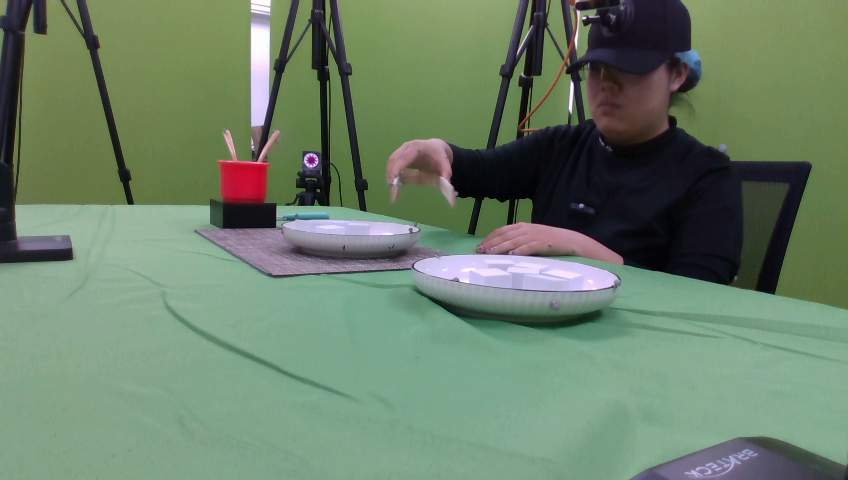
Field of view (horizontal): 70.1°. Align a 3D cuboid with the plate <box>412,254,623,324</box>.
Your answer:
[{"bbox_3d":[0.090,0.047,0.609,0.209,0.038,0.209,2,7,0],"label":"plate"}]

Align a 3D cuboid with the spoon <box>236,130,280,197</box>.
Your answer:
[{"bbox_3d":[-0.321,-0.154,1.192,0.041,0.193,0.022,1,-37,19],"label":"spoon"}]

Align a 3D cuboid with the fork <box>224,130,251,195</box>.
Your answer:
[{"bbox_3d":[-0.372,-0.155,1.193,0.028,0.018,0.206,-17,54,-13],"label":"fork"}]

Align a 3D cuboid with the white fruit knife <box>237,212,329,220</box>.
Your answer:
[{"bbox_3d":[-0.304,-0.050,1.328,0.208,0.016,0.027,-3,-19,-29],"label":"white fruit knife"}]

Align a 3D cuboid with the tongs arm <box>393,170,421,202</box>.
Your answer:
[{"bbox_3d":[-0.022,-0.087,0.927,0.051,0.026,0.384,0,9,-3],"label":"tongs arm"}]

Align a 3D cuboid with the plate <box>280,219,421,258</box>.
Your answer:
[{"bbox_3d":[-0.108,-0.002,0.902,0.208,0.039,0.207,3,7,0],"label":"plate"}]

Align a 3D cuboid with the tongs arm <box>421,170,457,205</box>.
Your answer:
[{"bbox_3d":[0.022,-0.086,0.928,0.028,0.028,0.387,-3,9,-4],"label":"tongs arm"}]
